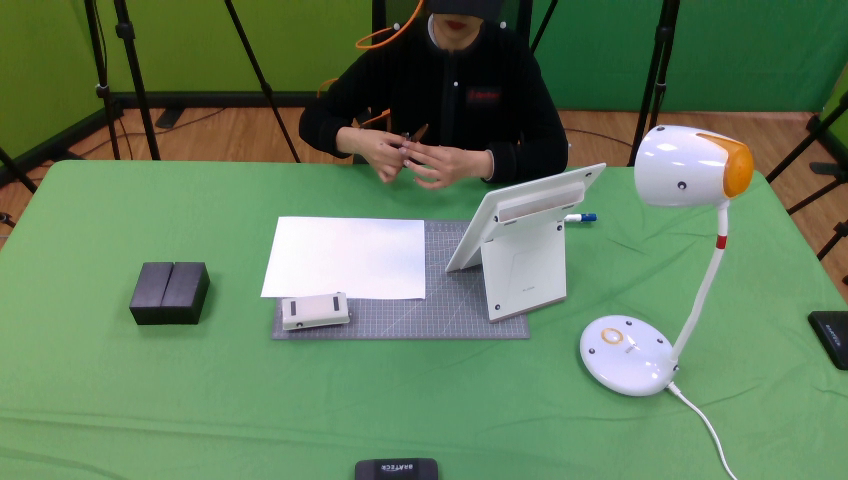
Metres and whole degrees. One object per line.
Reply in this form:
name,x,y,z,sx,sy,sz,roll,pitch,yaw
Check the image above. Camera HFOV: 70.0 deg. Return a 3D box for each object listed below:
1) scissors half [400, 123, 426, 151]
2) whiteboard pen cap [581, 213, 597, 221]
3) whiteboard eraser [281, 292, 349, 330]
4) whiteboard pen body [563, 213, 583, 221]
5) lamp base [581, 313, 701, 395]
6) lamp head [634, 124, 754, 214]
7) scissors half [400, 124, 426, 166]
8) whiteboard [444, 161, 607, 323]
scissors half,-0.022,-0.209,1.209,0.013,0.175,0.040,0,88,-17
whiteboard pen cap,0.342,-0.048,1.260,0.033,0.018,0.018,-3,46,-3
whiteboard eraser,-0.189,0.124,1.045,0.113,0.042,0.055,-6,46,-10
whiteboard pen body,0.283,-0.047,1.257,0.141,0.017,0.017,-1,46,-2
lamp base,0.361,0.144,0.973,0.178,0.181,0.160,34,53,23
lamp head,0.351,-0.089,0.776,0.112,0.113,0.122,-30,30,-28
scissors half,-0.021,-0.189,1.206,0.013,0.175,0.040,-5,74,-18
whiteboard,0.186,0.025,1.029,0.217,0.306,0.143,-14,68,-18
